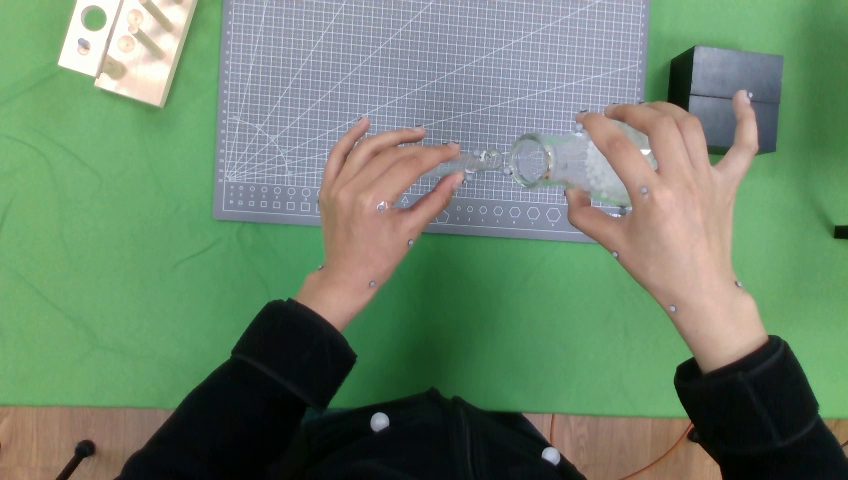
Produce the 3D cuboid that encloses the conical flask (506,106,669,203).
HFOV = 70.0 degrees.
[{"bbox_3d":[0.115,-0.062,0.440,0.122,0.075,0.075,-6,92,-38],"label":"conical flask"}]

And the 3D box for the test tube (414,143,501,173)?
[{"bbox_3d":[0.022,-0.065,0.491,0.017,0.149,0.017,-2,94,-20],"label":"test tube"}]

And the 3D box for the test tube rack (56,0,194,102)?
[{"bbox_3d":[-0.256,-0.264,0.568,0.067,0.085,0.242,17,90,-6],"label":"test tube rack"}]
